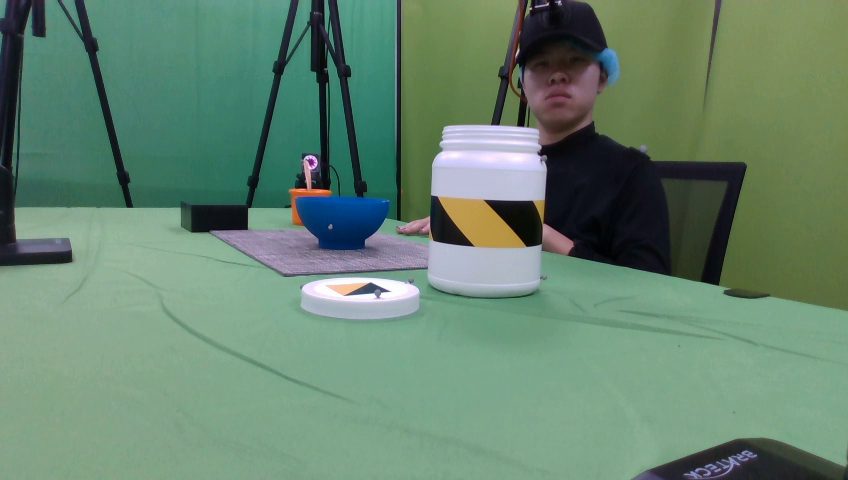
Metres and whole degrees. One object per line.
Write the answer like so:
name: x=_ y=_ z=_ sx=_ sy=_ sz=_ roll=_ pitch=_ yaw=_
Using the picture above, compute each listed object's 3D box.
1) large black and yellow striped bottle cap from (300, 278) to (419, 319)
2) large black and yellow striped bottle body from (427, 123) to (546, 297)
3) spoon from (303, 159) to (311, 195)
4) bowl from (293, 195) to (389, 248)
large black and yellow striped bottle cap: x=-0.062 y=0.055 z=0.588 sx=0.115 sy=0.019 sz=0.115 roll=1 pitch=6 yaw=0
large black and yellow striped bottle body: x=0.071 y=-0.037 z=0.689 sx=0.131 sy=0.184 sz=0.130 roll=2 pitch=7 yaw=0
spoon: x=-0.257 y=-0.113 z=1.341 sx=0.042 sy=0.193 sz=0.021 roll=3 pitch=-38 yaw=-18
bowl: x=-0.132 y=-0.029 z=0.962 sx=0.151 sy=0.077 sz=0.151 roll=2 pitch=7 yaw=0
